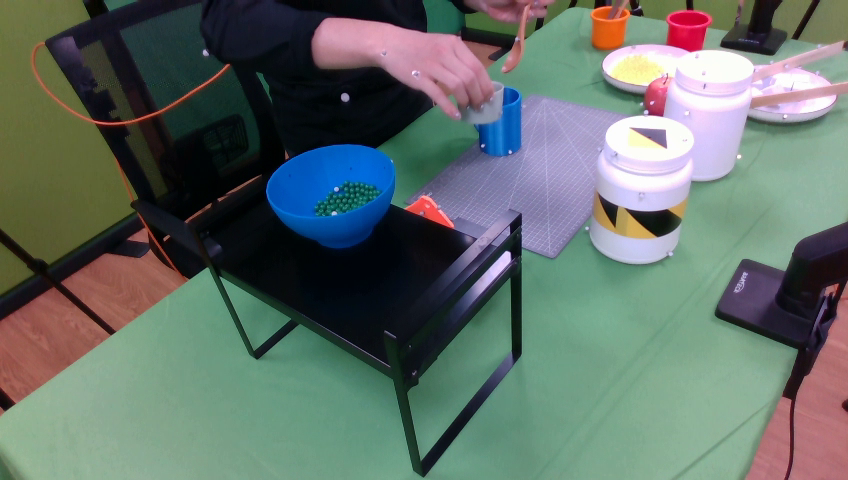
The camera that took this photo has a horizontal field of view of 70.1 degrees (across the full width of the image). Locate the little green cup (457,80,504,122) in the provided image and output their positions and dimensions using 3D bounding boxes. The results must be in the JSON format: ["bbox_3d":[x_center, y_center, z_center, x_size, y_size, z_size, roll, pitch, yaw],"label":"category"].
[{"bbox_3d":[0.072,-0.177,0.772,0.061,0.039,0.061,-3,30,2],"label":"little green cup"}]

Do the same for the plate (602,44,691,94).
[{"bbox_3d":[0.495,-0.367,1.317,0.209,0.038,0.208,-4,40,4],"label":"plate"}]

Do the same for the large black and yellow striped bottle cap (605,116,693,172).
[{"bbox_3d":[0.309,-0.134,0.833,0.115,0.019,0.114,-5,40,5],"label":"large black and yellow striped bottle cap"}]

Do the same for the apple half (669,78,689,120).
[{"bbox_3d":[0.498,-0.273,1.180,0.032,0.082,0.081,7,42,25],"label":"apple half"}]

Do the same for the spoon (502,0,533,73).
[{"bbox_3d":[0.168,-0.367,0.991,0.022,0.193,0.041,12,12,-22],"label":"spoon"}]

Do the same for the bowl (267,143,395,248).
[{"bbox_3d":[-0.104,-0.043,0.726,0.151,0.077,0.150,-4,41,4],"label":"bowl"}]

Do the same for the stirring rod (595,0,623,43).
[{"bbox_3d":[0.460,-0.556,1.459,0.014,0.006,0.176,30,93,23],"label":"stirring rod"}]

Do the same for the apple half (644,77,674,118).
[{"bbox_3d":[0.463,-0.279,1.194,0.053,0.075,0.081,8,46,25],"label":"apple half"}]

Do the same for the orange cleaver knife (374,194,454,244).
[{"bbox_3d":[-0.032,-0.027,0.965,0.210,0.077,0.012,-9,29,51],"label":"orange cleaver knife"}]

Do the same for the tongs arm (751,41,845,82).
[{"bbox_3d":[0.708,-0.331,1.193,0.386,0.026,0.050,-19,45,-16],"label":"tongs arm"}]

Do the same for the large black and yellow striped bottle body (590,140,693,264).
[{"bbox_3d":[0.317,-0.071,0.889,0.131,0.185,0.130,-4,41,4],"label":"large black and yellow striped bottle body"}]

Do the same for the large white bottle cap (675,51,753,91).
[{"bbox_3d":[0.463,-0.271,0.967,0.115,0.018,0.114,-4,40,3],"label":"large white bottle cap"}]

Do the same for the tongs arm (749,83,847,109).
[{"bbox_3d":[0.735,-0.279,1.134,0.388,0.028,0.028,-9,47,-5],"label":"tongs arm"}]

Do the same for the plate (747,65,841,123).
[{"bbox_3d":[0.695,-0.282,1.189,0.207,0.039,0.206,-4,40,4],"label":"plate"}]

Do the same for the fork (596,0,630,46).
[{"bbox_3d":[0.481,-0.556,1.452,0.028,0.019,0.207,40,103,40],"label":"fork"}]

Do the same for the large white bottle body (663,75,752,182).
[{"bbox_3d":[0.472,-0.207,1.022,0.130,0.185,0.130,-4,41,4],"label":"large white bottle body"}]

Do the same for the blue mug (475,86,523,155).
[{"bbox_3d":[0.136,-0.235,1.163,0.082,0.106,0.115,-36,48,-28],"label":"blue mug"}]
